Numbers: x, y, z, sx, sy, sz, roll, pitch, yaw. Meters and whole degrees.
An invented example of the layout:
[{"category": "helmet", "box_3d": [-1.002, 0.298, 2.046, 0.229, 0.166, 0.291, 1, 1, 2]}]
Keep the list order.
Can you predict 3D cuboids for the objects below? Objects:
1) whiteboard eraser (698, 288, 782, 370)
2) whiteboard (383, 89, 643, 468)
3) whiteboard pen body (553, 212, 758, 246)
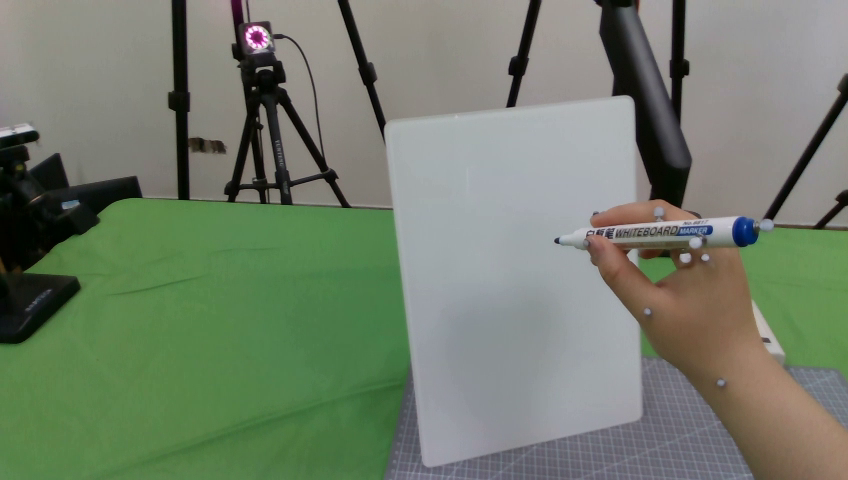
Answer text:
[{"category": "whiteboard eraser", "box_3d": [0.340, 0.096, 0.658, 0.055, 0.042, 0.112, 3, 28, 9]}, {"category": "whiteboard", "box_3d": [0.074, 0.023, 0.583, 0.218, 0.306, 0.143, -8, 13, -11]}, {"category": "whiteboard pen body", "box_3d": [0.125, -0.005, 0.357, 0.017, 0.017, 0.140, -21, 9, -29]}]
